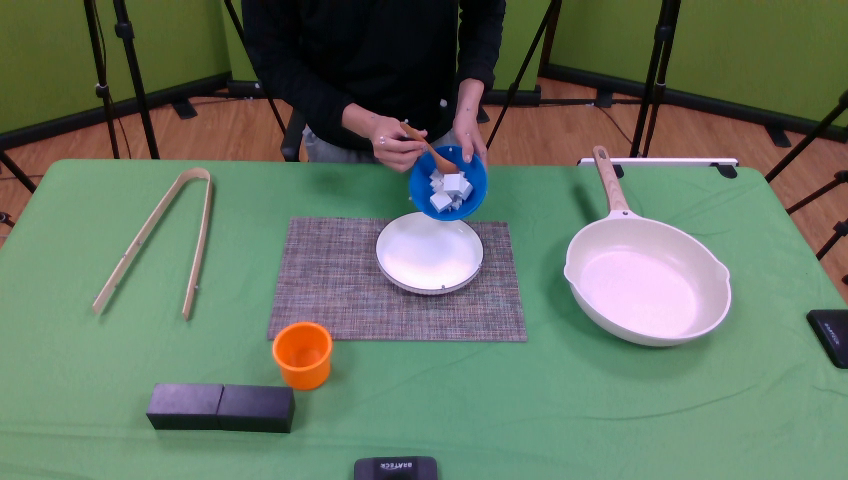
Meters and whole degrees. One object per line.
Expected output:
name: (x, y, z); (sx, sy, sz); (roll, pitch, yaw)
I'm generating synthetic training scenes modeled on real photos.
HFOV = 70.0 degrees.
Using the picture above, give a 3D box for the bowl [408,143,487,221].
bowl: (0.050, -0.101, 1.167); (0.151, 0.077, 0.151); (-3, 77, 11)

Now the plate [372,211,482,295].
plate: (0.005, 0.028, 1.155); (0.208, 0.039, 0.206); (2, 46, -2)

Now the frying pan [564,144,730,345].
frying pan: (0.396, -0.008, 1.179); (0.307, 0.103, 0.484); (0, 55, -5)

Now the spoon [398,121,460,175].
spoon: (0.008, -0.165, 1.108); (0.041, 0.195, 0.021); (-17, 56, 29)

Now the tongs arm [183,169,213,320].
tongs arm: (-0.436, -0.005, 1.166); (0.028, 0.028, 0.385); (-5, 46, -6)

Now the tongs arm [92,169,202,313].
tongs arm: (-0.518, -0.012, 1.160); (0.051, 0.026, 0.382); (7, 45, 1)
